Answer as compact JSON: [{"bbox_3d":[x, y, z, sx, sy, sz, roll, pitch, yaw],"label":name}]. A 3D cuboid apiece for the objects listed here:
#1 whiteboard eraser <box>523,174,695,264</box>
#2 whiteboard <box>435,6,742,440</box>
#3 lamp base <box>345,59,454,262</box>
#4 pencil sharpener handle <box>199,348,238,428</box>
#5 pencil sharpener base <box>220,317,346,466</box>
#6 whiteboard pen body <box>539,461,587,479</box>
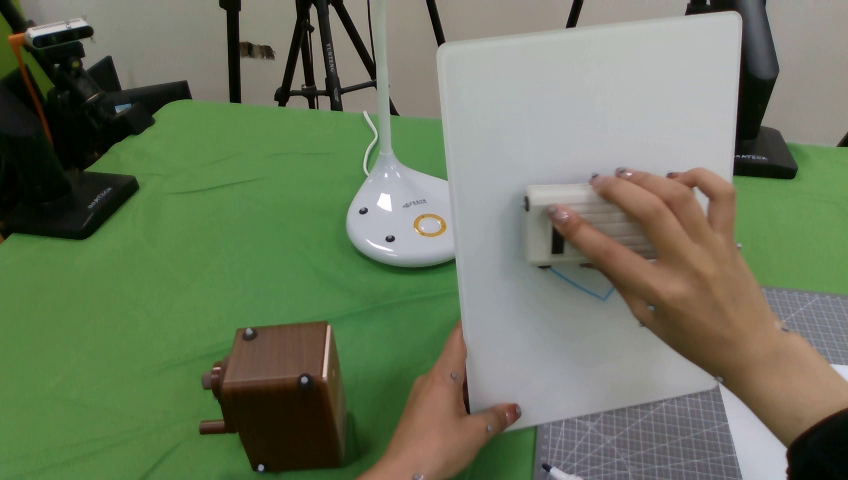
[{"bbox_3d":[0.126,-0.015,0.423,0.113,0.056,0.041,-4,26,-2],"label":"whiteboard eraser"},{"bbox_3d":[0.118,-0.021,0.511,0.217,0.307,0.142,-9,20,-7],"label":"whiteboard"},{"bbox_3d":[-0.021,-0.094,0.662,0.161,0.182,0.177,-26,42,-27],"label":"lamp base"},{"bbox_3d":[-0.155,0.112,0.446,0.030,0.068,0.035,-4,26,-2],"label":"pencil sharpener handle"},{"bbox_3d":[-0.104,0.117,0.459,0.077,0.108,0.060,-4,39,-2],"label":"pencil sharpener base"},{"bbox_3d":[0.141,0.193,0.422,0.139,0.017,0.017,25,46,33],"label":"whiteboard pen body"}]
